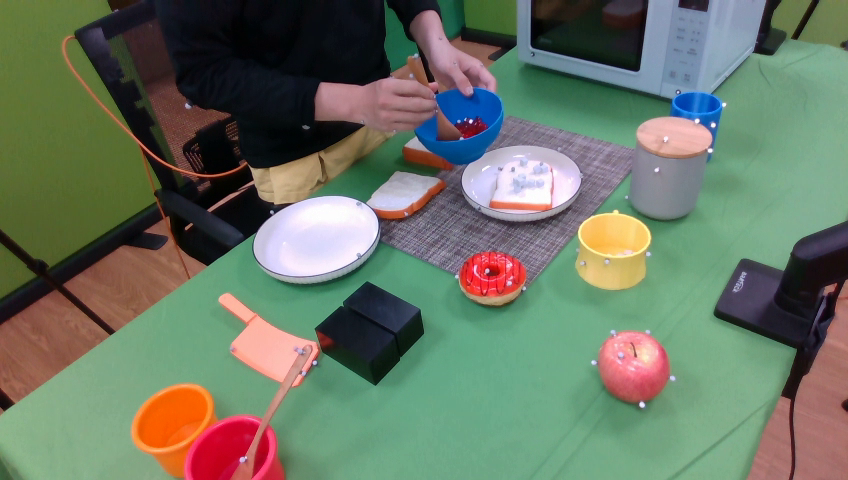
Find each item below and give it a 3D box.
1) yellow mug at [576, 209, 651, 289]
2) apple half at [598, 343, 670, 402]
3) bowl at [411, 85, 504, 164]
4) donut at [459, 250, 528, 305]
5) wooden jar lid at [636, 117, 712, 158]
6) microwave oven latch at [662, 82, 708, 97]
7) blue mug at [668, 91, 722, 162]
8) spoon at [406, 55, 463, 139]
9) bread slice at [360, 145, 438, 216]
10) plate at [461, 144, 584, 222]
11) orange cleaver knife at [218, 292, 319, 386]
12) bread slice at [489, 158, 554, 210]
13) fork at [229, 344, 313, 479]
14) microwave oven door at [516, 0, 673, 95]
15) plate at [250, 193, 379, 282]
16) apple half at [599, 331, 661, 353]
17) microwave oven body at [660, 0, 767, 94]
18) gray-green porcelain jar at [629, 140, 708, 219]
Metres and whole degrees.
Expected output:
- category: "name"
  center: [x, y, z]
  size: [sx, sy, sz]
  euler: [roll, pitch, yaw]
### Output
- category: "yellow mug"
  center: [0.279, 0.004, 0.893]
  size: [0.099, 0.064, 0.130]
  euler: [6, 42, 14]
- category: "apple half"
  center: [0.247, 0.161, 0.710]
  size: [0.081, 0.075, 0.053]
  euler: [2, 47, 5]
- category: "bowl"
  center: [0.060, -0.178, 0.987]
  size: [0.151, 0.077, 0.150]
  euler: [-8, 45, 8]
- category: "donut"
  center: [0.101, 0.053, 0.872]
  size: [0.099, 0.048, 0.098]
  euler: [-5, 40, 5]
- category: "wooden jar lid"
  center: [0.377, -0.151, 0.917]
  size: [0.108, 0.021, 0.108]
  euler: [-2, 42, 3]
- category: "microwave oven latch"
  center: [0.518, -0.298, 1.202]
  size: [0.078, 0.029, 0.030]
  euler: [28, 53, 35]
- category: "blue mug"
  center: [0.474, -0.207, 1.078]
  size: [0.082, 0.106, 0.116]
  euler: [4, 42, 13]
- category: "spoon"
  center: [0.013, -0.207, 0.908]
  size: [0.041, 0.195, 0.021]
  euler: [-7, 55, 23]
- category: "bread slice"
  center: [-0.052, -0.103, 1.046]
  size: [0.106, 0.018, 0.134]
  euler: [19, 67, 23]
- category: "plate"
  center: [0.168, -0.095, 1.040]
  size: [0.207, 0.039, 0.206]
  euler: [-4, 41, 4]
- category: "orange cleaver knife"
  center: [-0.235, 0.136, 0.850]
  size: [0.209, 0.012, 0.077]
  euler: [25, 56, 30]
- category: "bread slice"
  center: [0.173, -0.099, 1.048]
  size: [0.104, 0.019, 0.131]
  euler: [4, 44, 12]
- category: "fork"
  center: [-0.173, 0.205, 0.662]
  size: [0.028, 0.019, 0.207]
  euler: [29, 94, 36]
- category: "microwave oven door"
  center: [0.344, -0.458, 1.257]
  size: [0.353, 0.245, 0.039]
  euler: [26, 51, 33]
- category: "plate"
  center: [-0.174, 0.000, 0.984]
  size: [0.209, 0.038, 0.208]
  euler: [-3, 40, 3]
- category: "apple half"
  center: [0.249, 0.134, 0.738]
  size: [0.081, 0.081, 0.032]
  euler: [-1, 46, 7]
- category: "microwave oven body"
  center: [0.473, -0.516, 1.313]
  size: [0.438, 0.261, 0.327]
  euler: [26, 51, 34]
- category: "gray-green porcelain jar"
  center: [0.383, -0.105, 0.958]
  size: [0.106, 0.127, 0.105]
  euler: [-4, 41, 4]
